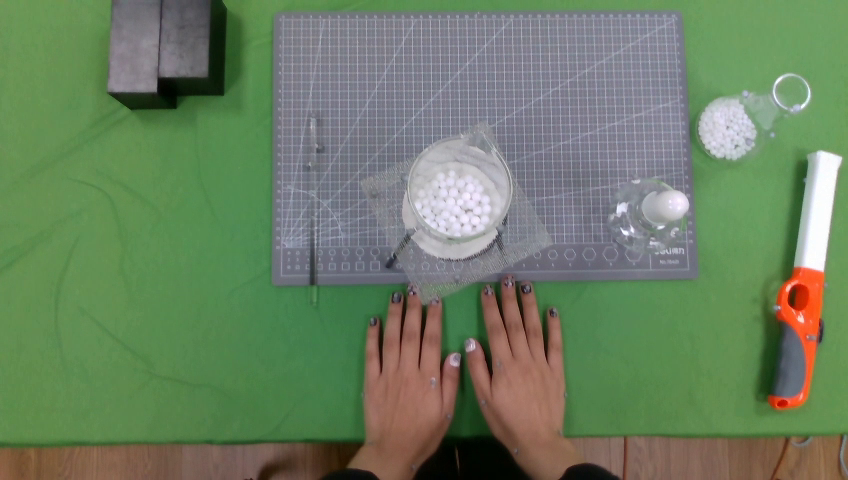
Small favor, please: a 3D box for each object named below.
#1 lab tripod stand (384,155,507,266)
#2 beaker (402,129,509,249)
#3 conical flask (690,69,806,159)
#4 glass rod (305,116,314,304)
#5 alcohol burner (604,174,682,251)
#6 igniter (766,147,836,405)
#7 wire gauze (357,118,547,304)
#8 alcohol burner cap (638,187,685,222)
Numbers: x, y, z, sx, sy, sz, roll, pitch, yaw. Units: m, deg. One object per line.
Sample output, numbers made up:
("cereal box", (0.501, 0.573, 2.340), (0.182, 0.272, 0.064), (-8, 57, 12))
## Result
("lab tripod stand", (0.022, -0.018, 0.578), (0.148, 0.131, 0.148), (0, 86, -1))
("beaker", (0.022, -0.034, 0.465), (0.074, 0.100, 0.084), (21, 84, 1))
("conical flask", (0.327, -0.131, 0.606), (0.075, 0.122, 0.075), (0, 83, -1))
("glass rod", (-0.121, -0.032, 0.638), (0.008, 0.008, 0.199), (0, 87, -2))
("alcohol burner", (0.220, -0.030, 0.594), (0.078, 0.119, 0.077), (0, 82, 1))
("igniter", (0.398, 0.037, 0.638), (0.057, 0.025, 0.276), (13, 84, -10))
("wire gauze", (0.024, -0.025, 0.513), (0.125, 0.011, 0.121), (-26, 88, -6))
("alcohol burner cap", (0.221, -0.035, 0.558), (0.034, 0.048, 0.034), (0, 89, -2))
